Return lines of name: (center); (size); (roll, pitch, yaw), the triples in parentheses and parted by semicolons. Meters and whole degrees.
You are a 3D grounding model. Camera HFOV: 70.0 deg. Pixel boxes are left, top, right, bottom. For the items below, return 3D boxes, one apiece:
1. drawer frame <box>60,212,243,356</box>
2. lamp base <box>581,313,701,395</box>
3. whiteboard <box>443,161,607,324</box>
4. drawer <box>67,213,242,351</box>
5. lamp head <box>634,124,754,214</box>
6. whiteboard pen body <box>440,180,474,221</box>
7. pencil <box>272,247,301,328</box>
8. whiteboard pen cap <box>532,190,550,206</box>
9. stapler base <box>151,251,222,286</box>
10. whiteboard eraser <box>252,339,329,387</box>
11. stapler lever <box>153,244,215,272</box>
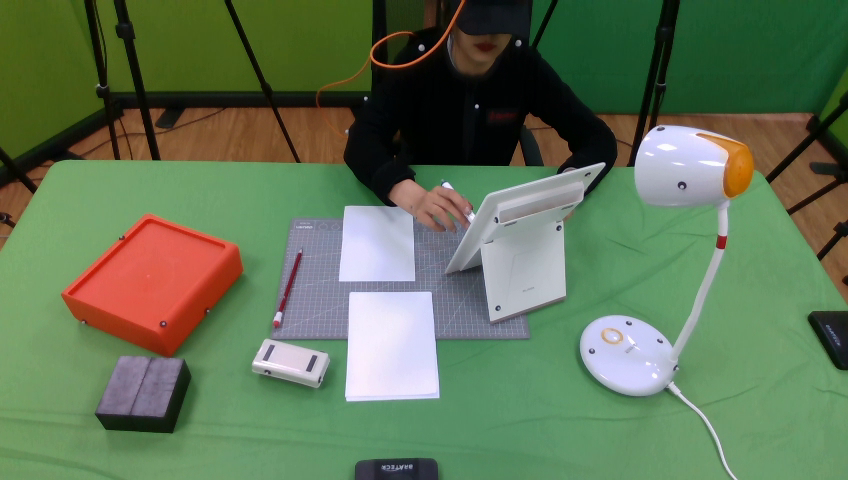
drawer frame: (-0.462, 0.070, 1.053); (0.201, 0.083, 0.213); (18, 48, 12)
lamp base: (0.361, 0.144, 0.973); (0.178, 0.181, 0.160); (34, 53, 23)
whiteboard: (0.185, 0.026, 1.028); (0.217, 0.306, 0.143); (-15, 68, -18)
drawer: (-0.461, 0.068, 1.056); (0.194, 0.073, 0.211); (19, 48, 13)
lamp head: (0.351, -0.089, 0.775); (0.112, 0.113, 0.122); (-30, 30, -28)
whiteboard pen body: (0.067, -0.061, 1.067); (0.017, 0.017, 0.140); (-18, 48, -20)
pencil: (-0.248, 0.081, 1.104); (0.012, 0.012, 0.193); (6, 45, 1)
whiteboard pen cap: (0.225, -0.080, 1.166); (0.033, 0.018, 0.018); (34, 47, -11)
stapler base: (-0.432, 0.047, 1.102); (0.130, 0.024, 0.041); (17, 33, 12)
whiteboard eraser: (-0.215, 0.199, 0.976); (0.112, 0.042, 0.055); (12, 45, 7)
stapler lever: (-0.430, 0.025, 1.088); (0.118, 0.040, 0.027); (16, 33, 13)
